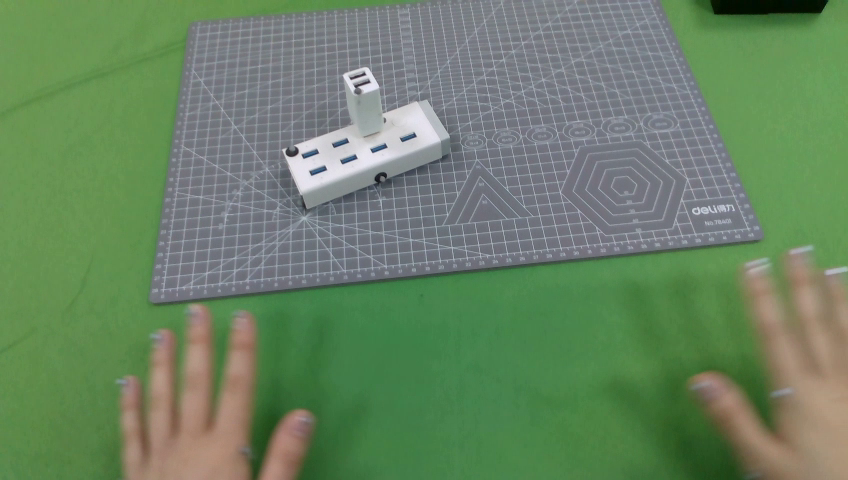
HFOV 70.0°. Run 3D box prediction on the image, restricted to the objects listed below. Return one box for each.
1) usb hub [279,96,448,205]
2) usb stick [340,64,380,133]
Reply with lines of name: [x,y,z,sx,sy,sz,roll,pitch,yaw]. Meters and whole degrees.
usb hub: [-0.047,-0.073,0.481,0.125,0.025,0.049,-22,61,-11]
usb stick: [-0.048,-0.103,0.464,0.021,0.059,0.027,-22,58,-13]
